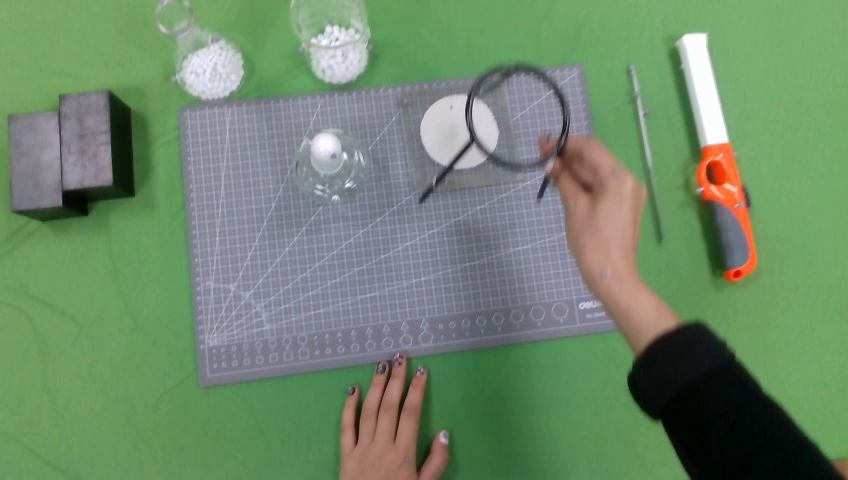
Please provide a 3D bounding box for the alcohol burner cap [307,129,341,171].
[{"bbox_3d":[-0.095,-0.087,0.569,0.034,0.048,0.033,1,81,-8],"label":"alcohol burner cap"}]

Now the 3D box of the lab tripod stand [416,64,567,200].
[{"bbox_3d":[0.063,-0.089,0.561,0.149,0.131,0.148,1,81,-10],"label":"lab tripod stand"}]

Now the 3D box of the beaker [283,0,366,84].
[{"bbox_3d":[-0.096,-0.212,0.633,0.084,0.100,0.074,29,82,1],"label":"beaker"}]

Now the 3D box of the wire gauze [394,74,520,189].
[{"bbox_3d":[0.036,-0.121,0.669,0.125,0.011,0.121,-9,83,-6],"label":"wire gauze"}]

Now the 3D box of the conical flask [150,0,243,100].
[{"bbox_3d":[-0.234,-0.197,0.613,0.075,0.122,0.075,0,82,-3],"label":"conical flask"}]

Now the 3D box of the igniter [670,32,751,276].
[{"bbox_3d":[0.317,-0.098,0.671,0.057,0.025,0.275,-7,83,-14],"label":"igniter"}]

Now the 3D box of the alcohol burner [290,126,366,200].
[{"bbox_3d":[-0.097,-0.081,0.604,0.078,0.119,0.077,0,83,-3],"label":"alcohol burner"}]

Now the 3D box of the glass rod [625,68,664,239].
[{"bbox_3d":[0.246,-0.099,0.677,0.008,0.008,0.199,-8,82,-4],"label":"glass rod"}]
